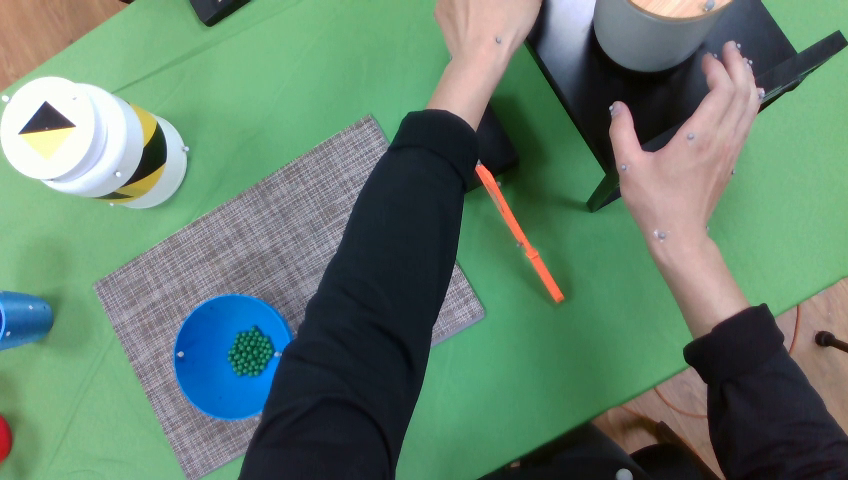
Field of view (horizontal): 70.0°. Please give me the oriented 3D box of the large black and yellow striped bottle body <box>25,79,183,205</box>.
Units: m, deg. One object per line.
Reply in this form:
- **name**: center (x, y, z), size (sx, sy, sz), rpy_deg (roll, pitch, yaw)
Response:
- **large black and yellow striped bottle body**: center (-0.403, -0.119, 0.750), size (0.130, 0.184, 0.130), rpy_deg (-1, 86, 8)

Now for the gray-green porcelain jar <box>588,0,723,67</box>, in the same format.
- **gray-green porcelain jar**: center (0.198, -0.215, 0.518), size (0.105, 0.127, 0.105), rpy_deg (-1, 86, 9)

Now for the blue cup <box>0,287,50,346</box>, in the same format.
- **blue cup**: center (-0.557, 0.100, 0.800), size (0.092, 0.100, 0.092), rpy_deg (0, 87, 6)

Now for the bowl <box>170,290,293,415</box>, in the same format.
- **bowl**: center (-0.227, 0.136, 0.759), size (0.151, 0.077, 0.151), rpy_deg (-1, 86, 8)

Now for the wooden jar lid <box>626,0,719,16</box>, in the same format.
- **wooden jar lid**: center (0.188, -0.219, 0.455), size (0.108, 0.021, 0.108), rpy_deg (-1, 87, 9)

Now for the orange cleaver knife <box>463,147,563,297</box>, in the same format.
- **orange cleaver knife**: center (0.106, -0.020, 0.723), size (0.012, 0.076, 0.213), rpy_deg (-34, 112, 1)

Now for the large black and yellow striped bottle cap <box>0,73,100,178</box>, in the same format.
- **large black and yellow striped bottle cap**: center (-0.414, -0.126, 0.667), size (0.115, 0.019, 0.115), rpy_deg (0, 88, 9)

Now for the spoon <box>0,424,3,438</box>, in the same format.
- **spoon**: center (-0.660, 0.284, 0.783), size (0.194, 0.021, 0.041), rpy_deg (-18, 83, -37)
